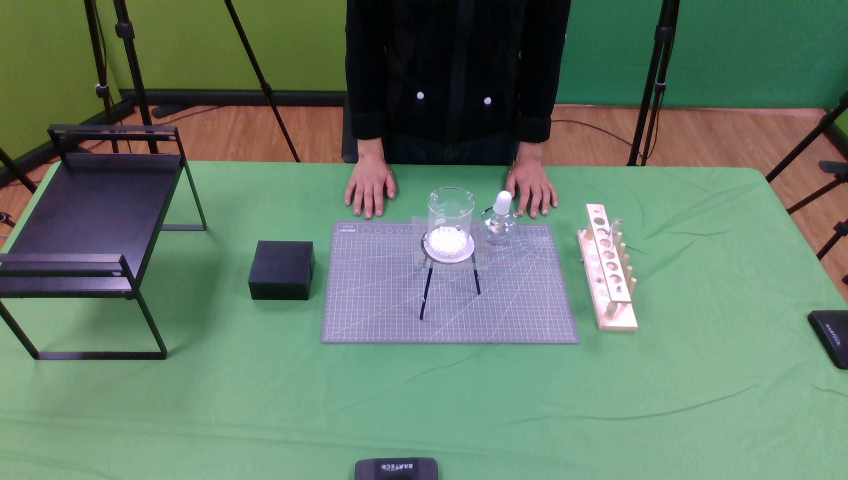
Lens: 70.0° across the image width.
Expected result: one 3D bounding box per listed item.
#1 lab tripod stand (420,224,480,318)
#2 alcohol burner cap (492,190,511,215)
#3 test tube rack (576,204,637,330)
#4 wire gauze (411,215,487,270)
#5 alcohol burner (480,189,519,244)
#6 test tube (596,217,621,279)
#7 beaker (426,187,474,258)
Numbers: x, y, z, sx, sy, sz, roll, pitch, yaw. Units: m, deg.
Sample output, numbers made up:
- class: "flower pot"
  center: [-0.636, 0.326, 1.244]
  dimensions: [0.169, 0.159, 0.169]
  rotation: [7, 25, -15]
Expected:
- class: "lab tripod stand"
  center: [0.034, 0.051, 1.071]
  dimensions: [0.148, 0.132, 0.147]
  rotation: [3, 48, -3]
- class: "alcohol burner cap"
  center: [0.151, -0.076, 1.165]
  dimensions: [0.034, 0.048, 0.033]
  rotation: [5, 49, -6]
- class: "test tube rack"
  center: [0.348, 0.045, 1.139]
  dimensions: [0.067, 0.085, 0.241]
  rotation: [2, 46, -2]
- class: "wire gauze"
  center: [0.041, 0.003, 1.026]
  dimensions: [0.125, 0.011, 0.120]
  rotation: [0, 46, -1]
- class: "alcohol burner"
  center: [0.150, -0.050, 1.191]
  dimensions: [0.078, 0.120, 0.077]
  rotation: [1, 46, -1]
- class: "test tube"
  center: [0.331, 0.018, 1.094]
  dimensions: [0.017, 0.151, 0.017]
  rotation: [0, 45, 0]
- class: "beaker"
  center: [0.042, -0.027, 0.989]
  dimensions: [0.084, 0.101, 0.073]
  rotation: [-26, 53, -26]
